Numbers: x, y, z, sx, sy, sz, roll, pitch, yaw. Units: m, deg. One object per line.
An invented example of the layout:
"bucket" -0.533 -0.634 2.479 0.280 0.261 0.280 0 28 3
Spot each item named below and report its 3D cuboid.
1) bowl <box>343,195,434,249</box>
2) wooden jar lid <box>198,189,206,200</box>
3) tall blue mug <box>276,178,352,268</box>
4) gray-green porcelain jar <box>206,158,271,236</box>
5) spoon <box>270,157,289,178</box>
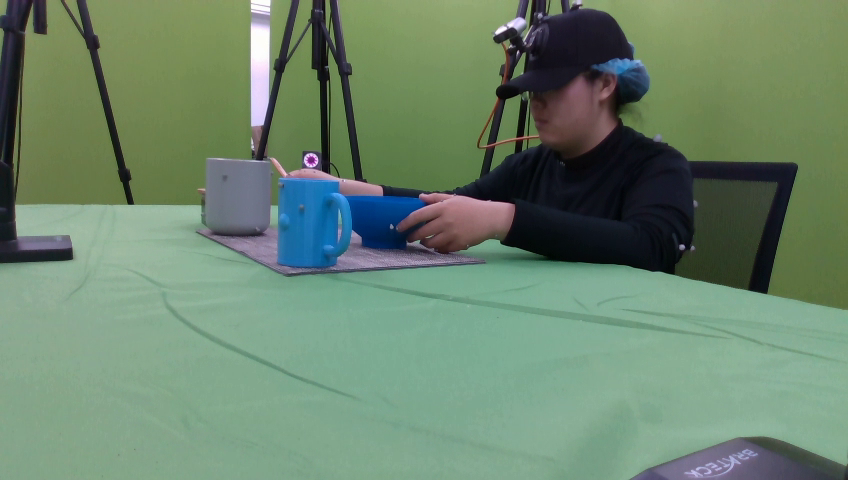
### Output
"bowl" -0.063 -0.029 0.971 0.151 0.077 0.151 3 7 0
"wooden jar lid" -0.382 -0.088 1.175 0.108 0.020 0.108 3 8 0
"tall blue mug" -0.133 -0.022 0.767 0.107 0.108 0.078 4 6 12
"gray-green porcelain jar" -0.316 -0.074 1.031 0.106 0.126 0.106 3 7 0
"spoon" -0.270 -0.103 1.234 0.042 0.193 0.021 -11 -30 -40
